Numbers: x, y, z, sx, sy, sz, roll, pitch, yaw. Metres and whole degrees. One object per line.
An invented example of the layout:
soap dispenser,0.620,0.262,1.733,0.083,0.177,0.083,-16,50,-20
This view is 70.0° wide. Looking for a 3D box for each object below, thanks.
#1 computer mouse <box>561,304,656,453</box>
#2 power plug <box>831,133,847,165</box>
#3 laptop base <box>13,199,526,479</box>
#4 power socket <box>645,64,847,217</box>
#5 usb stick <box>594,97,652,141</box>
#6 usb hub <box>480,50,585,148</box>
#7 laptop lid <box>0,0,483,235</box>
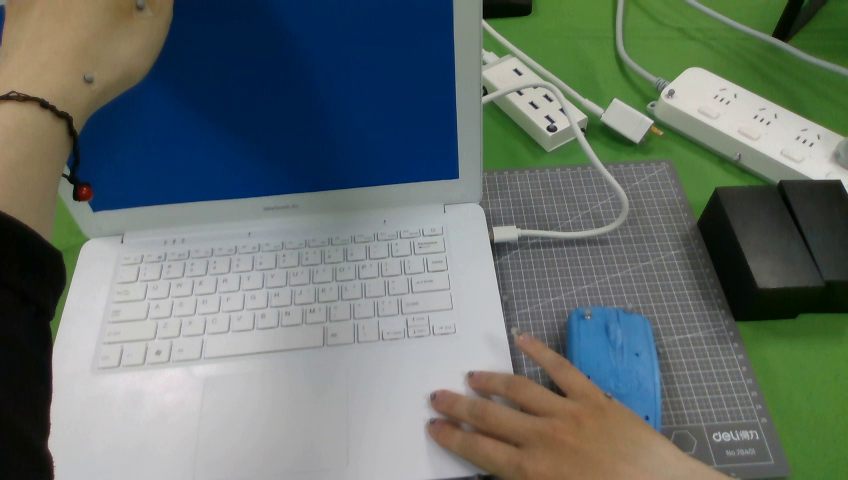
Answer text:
computer mouse,0.133,0.094,0.438,0.062,0.041,0.116,6,51,9
power plug,0.396,-0.089,0.539,0.072,0.053,0.035,-31,58,-17
laptop base,-0.114,0.078,0.475,0.354,0.023,0.233,-6,57,-1
power socket,0.324,-0.100,0.577,0.072,0.033,0.225,-39,61,-24
usb stick,0.200,-0.117,0.596,0.059,0.027,0.021,27,17,1
usb hub,0.106,-0.147,0.624,0.049,0.025,0.124,-28,58,-17
laptop lid,-0.132,-0.104,0.461,0.357,0.244,0.013,-7,43,0
